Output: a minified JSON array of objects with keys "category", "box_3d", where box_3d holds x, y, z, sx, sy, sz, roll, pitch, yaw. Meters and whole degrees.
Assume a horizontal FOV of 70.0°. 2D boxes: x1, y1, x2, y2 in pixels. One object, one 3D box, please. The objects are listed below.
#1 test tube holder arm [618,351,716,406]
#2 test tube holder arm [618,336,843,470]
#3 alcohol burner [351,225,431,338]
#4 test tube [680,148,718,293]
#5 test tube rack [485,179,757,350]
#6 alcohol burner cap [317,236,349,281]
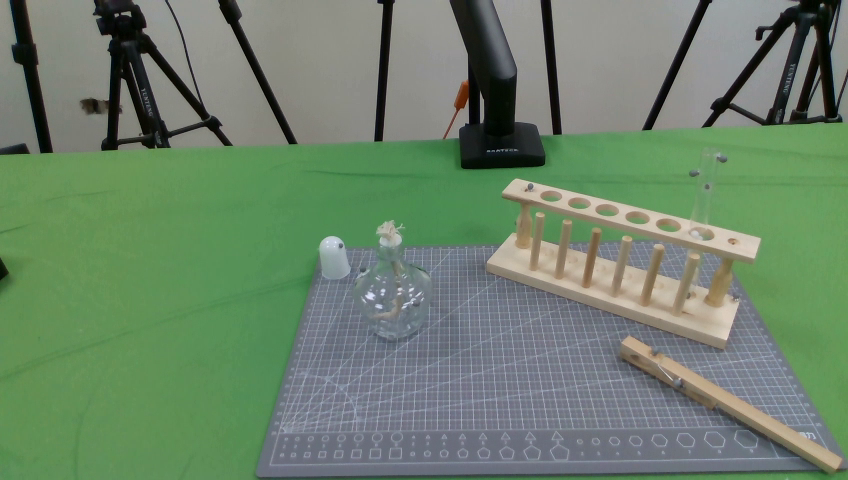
[{"category":"test tube holder arm","box_3d":[0.210,0.117,0.525,0.087,0.010,0.015,24,48,39]},{"category":"test tube holder arm","box_3d":[0.241,0.129,0.495,0.176,0.013,0.015,28,52,35]},{"category":"alcohol burner","box_3d":[-0.032,0.035,0.569,0.078,0.120,0.077,-1,37,1]},{"category":"test tube","box_3d":[0.249,-0.013,0.554,0.017,0.151,0.017,-5,33,4]},{"category":"test tube rack","box_3d":[0.183,0.017,0.602,0.240,0.086,0.066,18,41,27]},{"category":"alcohol burner cap","box_3d":[-0.101,0.017,0.661,0.034,0.048,0.033,-1,36,1]}]
